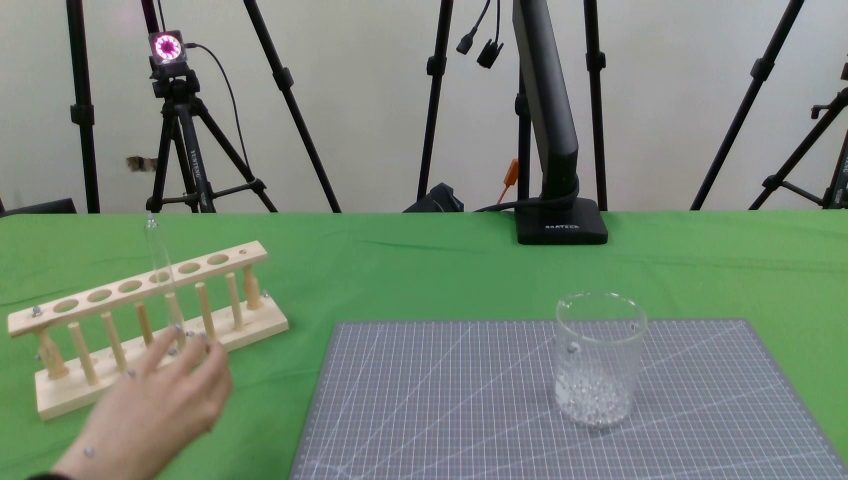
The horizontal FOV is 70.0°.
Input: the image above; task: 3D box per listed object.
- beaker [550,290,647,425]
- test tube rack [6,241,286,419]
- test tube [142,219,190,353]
[{"bbox_3d":[0.147,0.104,0.535,0.074,0.101,0.083,-22,34,-30],"label":"beaker"},{"bbox_3d":[-0.274,0.084,0.623,0.243,0.086,0.066,-19,34,-27],"label":"test tube rack"},{"bbox_3d":[-0.251,0.048,0.593,0.017,0.151,0.017,0,29,0],"label":"test tube"}]
